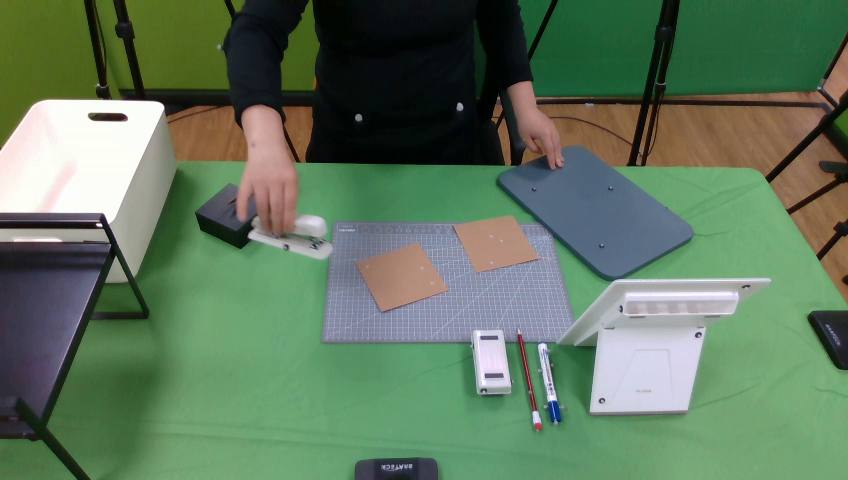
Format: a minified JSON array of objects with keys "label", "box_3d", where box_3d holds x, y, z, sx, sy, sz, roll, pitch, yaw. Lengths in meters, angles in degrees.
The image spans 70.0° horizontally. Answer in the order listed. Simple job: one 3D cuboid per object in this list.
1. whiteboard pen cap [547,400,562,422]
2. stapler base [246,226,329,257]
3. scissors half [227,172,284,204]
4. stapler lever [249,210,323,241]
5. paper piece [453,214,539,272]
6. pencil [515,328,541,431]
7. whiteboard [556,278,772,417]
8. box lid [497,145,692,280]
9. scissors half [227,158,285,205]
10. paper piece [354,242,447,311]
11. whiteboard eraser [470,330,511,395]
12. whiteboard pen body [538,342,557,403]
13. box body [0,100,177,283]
[{"label":"whiteboard pen cap","box_3d":[0.205,0.269,0.956,0.018,0.018,0.033,0,47,-5]},{"label":"stapler base","box_3d":[-0.211,-0.008,0.939,0.130,0.024,0.041,15,33,12]},{"label":"scissors half","box_3d":[-0.339,-0.101,1.230,0.013,0.040,0.175,21,28,17]},{"label":"stapler lever","box_3d":[-0.210,-0.029,0.925,0.118,0.040,0.027,15,33,12]},{"label":"paper piece","box_3d":[0.142,0.003,1.213,0.135,0.004,0.135,-12,47,-14]},{"label":"pencil","box_3d":[0.169,0.224,1.002,0.012,0.012,0.192,-1,46,-6]},{"label":"whiteboard","box_3d":[0.347,0.174,0.903,0.217,0.306,0.143,1,65,-4]},{"label":"box lid","box_3d":[0.360,-0.073,1.304,0.263,0.015,0.369,-24,51,-25]},{"label":"scissors half","box_3d":[-0.336,-0.117,1.218,0.013,0.040,0.175,25,46,14]},{"label":"paper piece","box_3d":[-0.045,0.066,1.137,0.136,0.009,0.137,-15,48,-22]},{"label":"whiteboard eraser","box_3d":[0.110,0.202,0.998,0.055,0.042,0.112,1,46,-5]},{"label":"whiteboard pen body","box_3d":[0.205,0.228,0.997,0.017,0.017,0.140,1,46,-3]},{"label":"box body","box_3d":[-0.639,-0.095,1.140,0.254,0.161,0.361,1,46,-4]}]
